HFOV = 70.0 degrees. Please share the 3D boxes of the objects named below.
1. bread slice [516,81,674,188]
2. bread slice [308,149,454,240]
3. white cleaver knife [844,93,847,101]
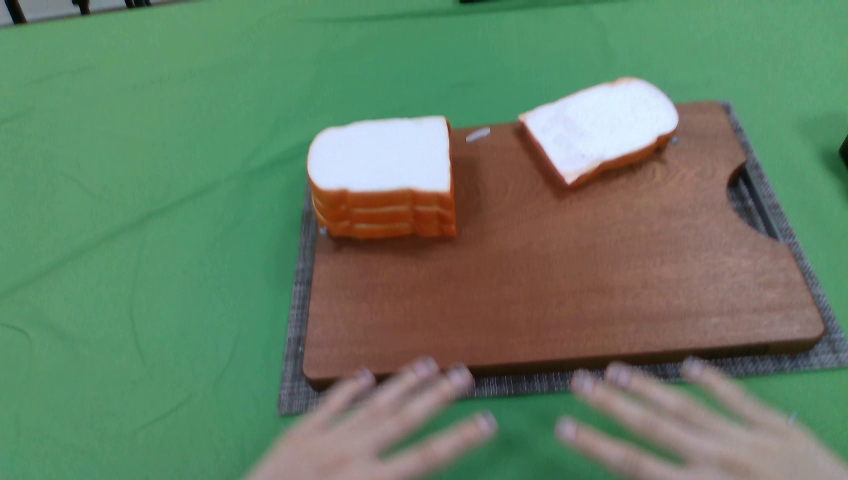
[{"bbox_3d":[0.169,-0.106,0.581,0.131,0.019,0.103,-22,49,-4],"label":"bread slice"},{"bbox_3d":[-0.040,-0.045,0.566,0.134,0.018,0.106,0,49,2],"label":"bread slice"},{"bbox_3d":[0.438,-0.036,0.472,0.066,0.022,0.283,-13,54,-2],"label":"white cleaver knife"}]
